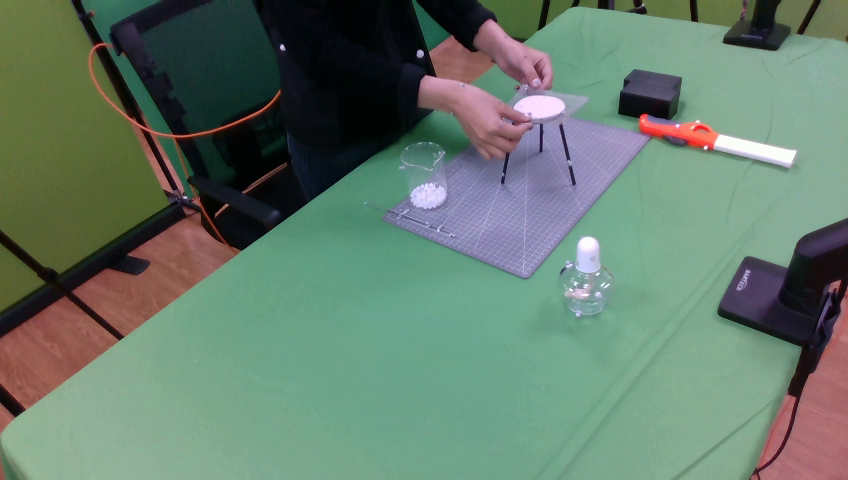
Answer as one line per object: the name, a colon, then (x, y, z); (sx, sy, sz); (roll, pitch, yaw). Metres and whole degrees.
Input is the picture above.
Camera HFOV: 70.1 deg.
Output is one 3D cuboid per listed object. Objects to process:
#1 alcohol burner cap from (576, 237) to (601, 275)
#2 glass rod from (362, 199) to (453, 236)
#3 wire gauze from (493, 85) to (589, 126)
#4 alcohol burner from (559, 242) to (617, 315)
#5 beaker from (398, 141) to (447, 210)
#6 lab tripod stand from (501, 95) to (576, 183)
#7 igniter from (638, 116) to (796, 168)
alcohol burner cap: (0.216, 0.018, 0.792); (0.034, 0.048, 0.033); (-7, 35, 5)
glass rod: (-0.031, -0.041, 1.041); (0.198, 0.008, 0.008); (22, 50, 31)
wire gauze: (0.197, -0.224, 1.011); (0.120, 0.011, 0.125); (17, 44, 29)
alcohol burner: (0.222, 0.045, 0.816); (0.078, 0.119, 0.077); (-4, 42, 4)
beaker: (0.002, -0.108, 1.043); (0.074, 0.101, 0.083); (-19, 42, -11)
lab tripod stand: (0.204, -0.174, 1.056); (0.148, 0.132, 0.147); (-4, 40, 4)
igniter: (0.517, -0.181, 1.093); (0.274, 0.025, 0.057); (23, 65, 32)
